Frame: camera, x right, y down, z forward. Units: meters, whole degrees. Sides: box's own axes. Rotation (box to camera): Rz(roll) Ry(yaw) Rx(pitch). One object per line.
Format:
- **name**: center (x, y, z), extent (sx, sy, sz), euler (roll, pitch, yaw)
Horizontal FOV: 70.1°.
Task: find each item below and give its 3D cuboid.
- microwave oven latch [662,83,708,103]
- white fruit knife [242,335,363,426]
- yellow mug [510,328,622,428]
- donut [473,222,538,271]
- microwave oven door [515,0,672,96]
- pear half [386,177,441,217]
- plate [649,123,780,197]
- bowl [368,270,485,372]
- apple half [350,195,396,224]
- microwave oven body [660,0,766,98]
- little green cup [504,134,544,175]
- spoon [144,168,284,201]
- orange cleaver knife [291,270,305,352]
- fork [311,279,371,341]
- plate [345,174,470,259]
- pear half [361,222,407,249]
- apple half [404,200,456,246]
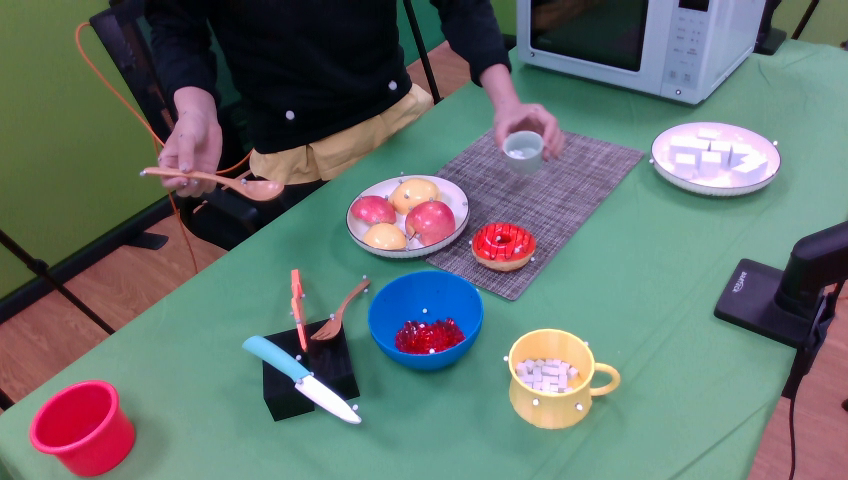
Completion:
- **microwave oven latch**: center (0.518, -0.296, 1.204), extent (0.078, 0.029, 0.030), euler (28, 52, 35)
- **white fruit knife**: center (-0.148, 0.166, 0.730), extent (0.206, 0.016, 0.027), euler (26, 80, 31)
- **yellow mug**: center (0.169, 0.164, 0.722), extent (0.130, 0.064, 0.099), euler (0, 40, 8)
- **donut**: center (0.124, 0.009, 0.923), extent (0.099, 0.048, 0.098), euler (-4, 37, 3)
- **microwave oven door**: center (0.343, -0.455, 1.259), extent (0.353, 0.245, 0.039), euler (26, 51, 33)
- **pear half**: center (-0.029, -0.079, 1.033), extent (0.109, 0.056, 0.076), euler (-2, 35, 16)
- **plate**: center (0.497, -0.135, 1.046), extent (0.207, 0.039, 0.206), euler (-4, 40, 4)
- **bowl**: center (0.007, 0.118, 0.791), extent (0.151, 0.077, 0.150), euler (-5, 40, 4)
- **apple half**: center (-0.080, -0.056, 1.008), extent (0.081, 0.033, 0.081), euler (10, 24, -4)
- **microwave oven body**: center (0.472, -0.513, 1.317), extent (0.438, 0.261, 0.327), euler (26, 51, 34)
- **little green cup**: center (0.156, -0.131, 0.936), extent (0.061, 0.039, 0.061), euler (-8, 44, 8)
- **spoon**: center (-0.284, -0.081, 0.818), extent (0.194, 0.022, 0.041), euler (12, 45, 1)
- **orange cleaver knife**: center (-0.175, 0.094, 0.844), extent (0.012, 0.077, 0.210), euler (-11, 14, -10)
- **fork**: center (-0.108, 0.092, 0.832), extent (0.028, 0.019, 0.207), euler (-6, 19, 15)
- **plate**: center (-0.026, -0.037, 1.004), extent (0.209, 0.038, 0.208), euler (-4, 40, 4)
- **pear half**: center (-0.063, -0.012, 0.958), extent (0.071, 0.031, 0.087), euler (2, 24, -25)
- **apple half**: center (0.010, -0.035, 0.969), extent (0.075, 0.053, 0.080), euler (-27, 40, -22)
